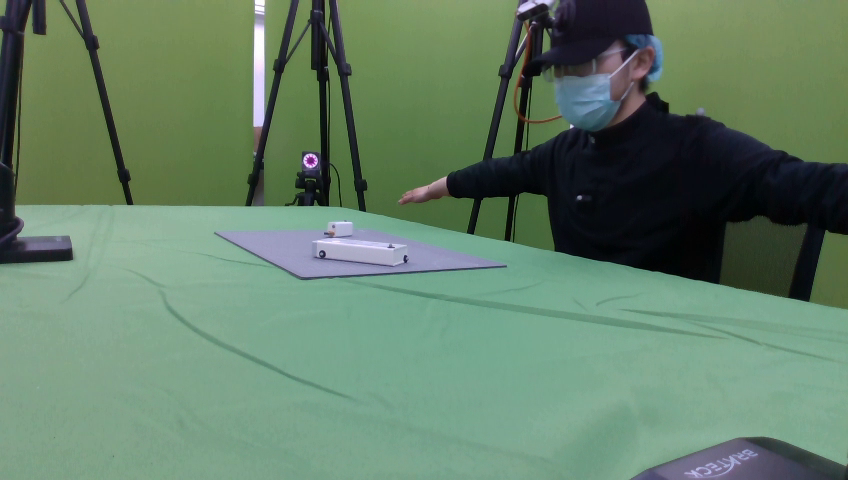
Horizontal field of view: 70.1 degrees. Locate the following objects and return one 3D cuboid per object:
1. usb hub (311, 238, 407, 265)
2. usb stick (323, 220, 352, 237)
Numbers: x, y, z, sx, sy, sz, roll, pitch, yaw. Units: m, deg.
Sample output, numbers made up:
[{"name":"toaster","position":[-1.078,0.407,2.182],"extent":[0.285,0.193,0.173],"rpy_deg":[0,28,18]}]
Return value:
[{"name":"usb hub","position":[-0.089,0.014,0.828],"extent":[0.125,0.025,0.050],"rpy_deg":[5,8,21]},{"name":"usb stick","position":[-0.154,-0.020,1.072],"extent":[0.021,0.027,0.059],"rpy_deg":[10,12,35]}]
